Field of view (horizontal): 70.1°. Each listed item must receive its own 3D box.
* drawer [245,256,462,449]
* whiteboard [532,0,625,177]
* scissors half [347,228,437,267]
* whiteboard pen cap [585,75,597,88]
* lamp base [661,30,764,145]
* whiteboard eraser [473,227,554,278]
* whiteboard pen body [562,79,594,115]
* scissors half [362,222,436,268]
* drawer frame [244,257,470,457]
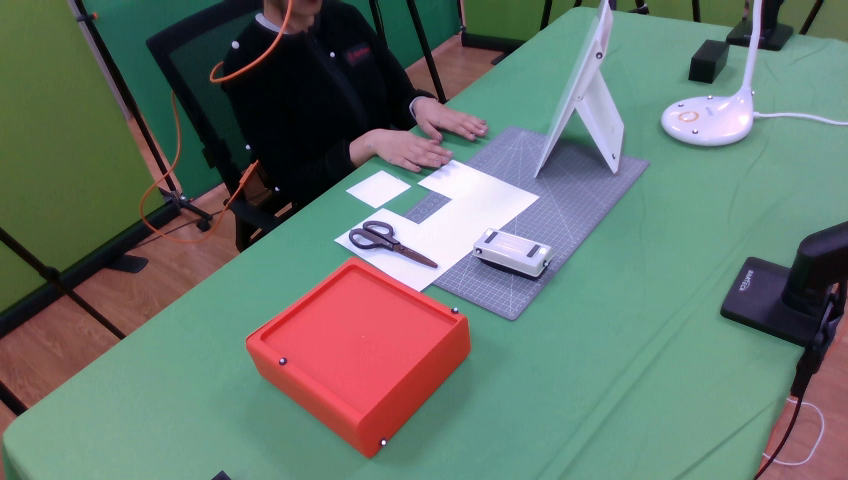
[{"bbox_3d":[-0.089,0.136,0.792,0.210,0.073,0.195,26,51,34],"label":"drawer"},{"bbox_3d":[0.320,-0.259,1.050,0.144,0.306,0.217,21,45,5],"label":"whiteboard"},{"bbox_3d":[-0.054,0.015,0.974,0.174,0.013,0.040,19,36,24],"label":"scissors half"},{"bbox_3d":[0.362,-0.343,1.310,0.018,0.018,0.033,19,54,29],"label":"whiteboard pen cap"},{"bbox_3d":[0.535,-0.287,1.096,0.179,0.181,0.159,-10,40,-4],"label":"lamp base"},{"bbox_3d":[0.134,0.020,0.913,0.112,0.042,0.056,20,50,29],"label":"whiteboard eraser"},{"bbox_3d":[0.328,-0.306,1.277,0.017,0.017,0.141,20,52,30],"label":"whiteboard pen body"},{"bbox_3d":[-0.040,0.008,0.988,0.040,0.013,0.173,-18,37,-37],"label":"scissors half"},{"bbox_3d":[-0.084,0.138,0.788,0.212,0.083,0.202,25,50,33],"label":"drawer frame"}]
